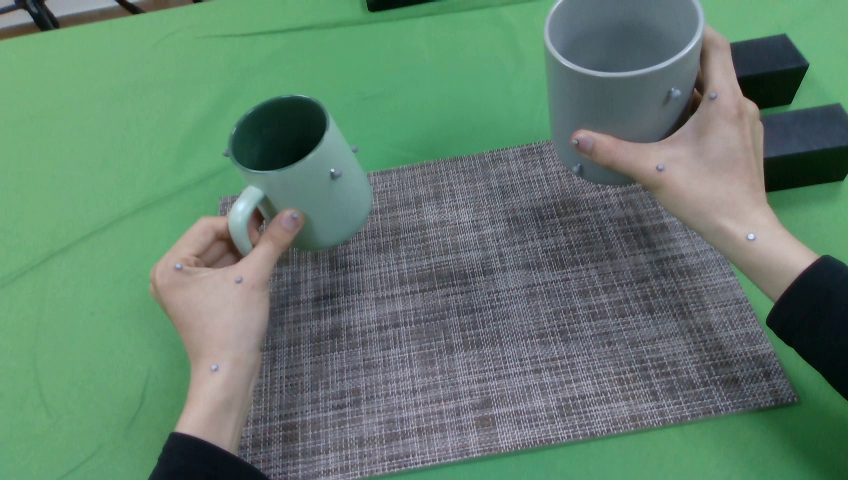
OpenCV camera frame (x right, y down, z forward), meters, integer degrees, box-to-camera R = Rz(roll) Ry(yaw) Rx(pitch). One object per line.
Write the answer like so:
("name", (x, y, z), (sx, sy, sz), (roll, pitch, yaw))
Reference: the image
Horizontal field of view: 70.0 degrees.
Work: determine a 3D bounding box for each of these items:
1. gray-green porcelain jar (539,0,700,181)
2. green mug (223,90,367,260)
("gray-green porcelain jar", (0.144, -0.115, 0.460), (0.106, 0.128, 0.105), (-7, 56, 10))
("green mug", (-0.108, -0.041, 0.480), (0.092, 0.106, 0.125), (20, 65, 23))
